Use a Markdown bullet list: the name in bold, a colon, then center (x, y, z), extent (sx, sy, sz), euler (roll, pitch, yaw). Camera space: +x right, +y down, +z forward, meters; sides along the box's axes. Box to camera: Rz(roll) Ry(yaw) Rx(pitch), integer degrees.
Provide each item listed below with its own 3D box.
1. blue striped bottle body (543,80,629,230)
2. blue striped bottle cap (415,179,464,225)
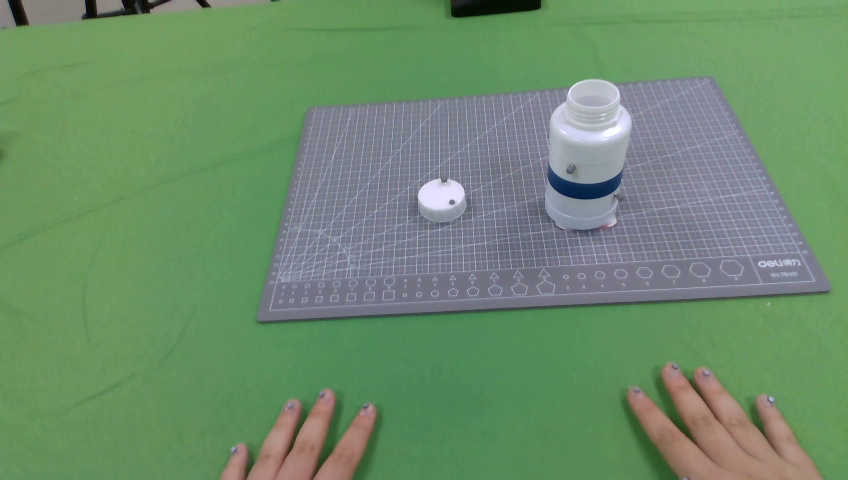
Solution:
- **blue striped bottle body**: center (0.132, -0.071, 0.500), extent (0.063, 0.122, 0.062), euler (-4, 47, 4)
- **blue striped bottle cap**: center (0.014, -0.036, 0.557), extent (0.044, 0.021, 0.044), euler (-3, 46, 3)
